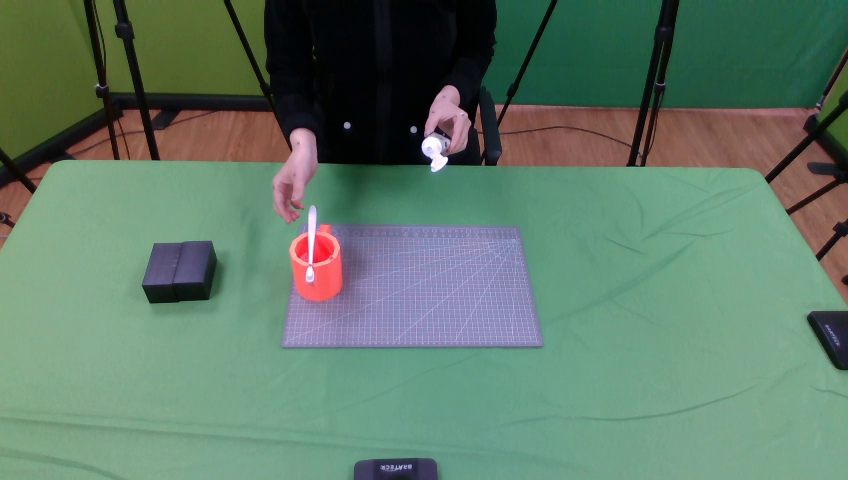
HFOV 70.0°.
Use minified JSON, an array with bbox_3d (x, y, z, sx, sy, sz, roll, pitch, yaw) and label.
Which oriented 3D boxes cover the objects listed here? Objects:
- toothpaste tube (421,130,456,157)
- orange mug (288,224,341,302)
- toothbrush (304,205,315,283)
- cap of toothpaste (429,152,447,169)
[{"bbox_3d":[0.024,-0.175,1.080,0.055,0.034,0.164,30,21,-1],"label":"toothpaste tube"},{"bbox_3d":[-0.192,0.034,1.094,0.083,0.101,0.125,7,50,3],"label":"orange mug"},{"bbox_3d":[-0.199,0.001,1.052,0.014,0.017,0.180,-4,46,-5],"label":"toothbrush"},{"bbox_3d":[0.022,-0.132,1.001,0.037,0.011,0.037,-34,28,21],"label":"cap of toothpaste"}]
